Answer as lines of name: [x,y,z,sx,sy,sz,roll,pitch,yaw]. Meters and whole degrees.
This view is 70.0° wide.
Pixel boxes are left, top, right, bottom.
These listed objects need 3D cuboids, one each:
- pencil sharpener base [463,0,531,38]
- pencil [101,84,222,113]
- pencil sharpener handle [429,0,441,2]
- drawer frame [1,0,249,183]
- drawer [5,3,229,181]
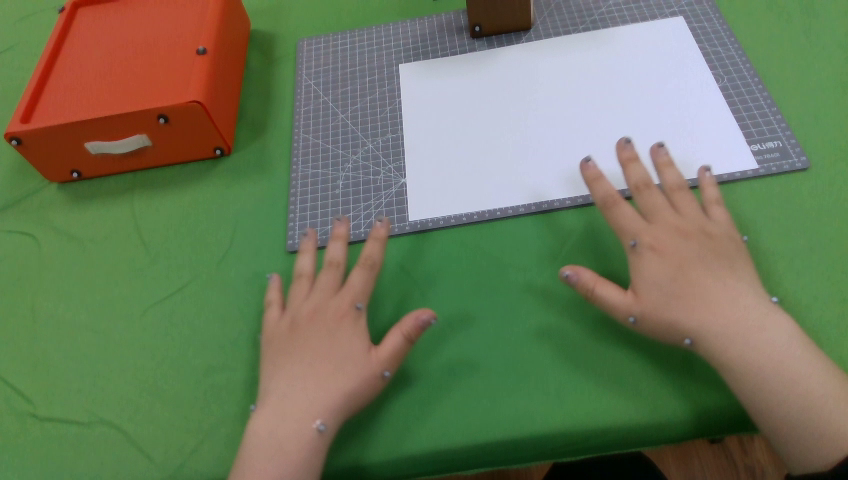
pencil sharpener base: [0.068,-0.272,0.624,0.076,0.108,0.061,-7,55,6]
pencil: [-0.296,-0.159,0.670,0.193,0.012,0.012,15,60,26]
pencil sharpener handle: [0.016,-0.274,0.620,0.030,0.068,0.035,-7,61,7]
drawer frame: [-0.302,-0.174,0.644,0.201,0.083,0.211,-9,54,5]
drawer: [-0.301,-0.172,0.644,0.194,0.074,0.209,-8,55,5]
